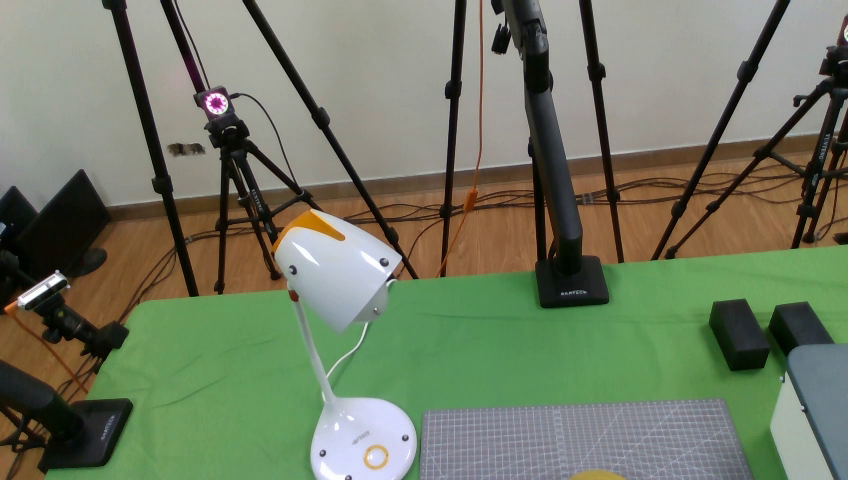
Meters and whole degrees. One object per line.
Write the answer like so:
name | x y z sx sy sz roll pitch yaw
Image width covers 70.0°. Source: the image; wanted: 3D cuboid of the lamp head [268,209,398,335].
lamp head | -0.108 0.027 0.660 0.123 0.113 0.112 36 52 0

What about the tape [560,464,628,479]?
tape | 0.219 0.349 0.771 0.117 0.053 0.115 -5 41 5

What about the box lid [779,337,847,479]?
box lid | 0.563 0.242 0.623 0.263 0.015 0.368 -4 42 8

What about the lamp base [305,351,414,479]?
lamp base | -0.115 0.247 0.865 0.177 0.182 0.160 24 52 37

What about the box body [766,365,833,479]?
box body | 0.573 0.298 0.670 0.254 0.162 0.360 -4 41 8
